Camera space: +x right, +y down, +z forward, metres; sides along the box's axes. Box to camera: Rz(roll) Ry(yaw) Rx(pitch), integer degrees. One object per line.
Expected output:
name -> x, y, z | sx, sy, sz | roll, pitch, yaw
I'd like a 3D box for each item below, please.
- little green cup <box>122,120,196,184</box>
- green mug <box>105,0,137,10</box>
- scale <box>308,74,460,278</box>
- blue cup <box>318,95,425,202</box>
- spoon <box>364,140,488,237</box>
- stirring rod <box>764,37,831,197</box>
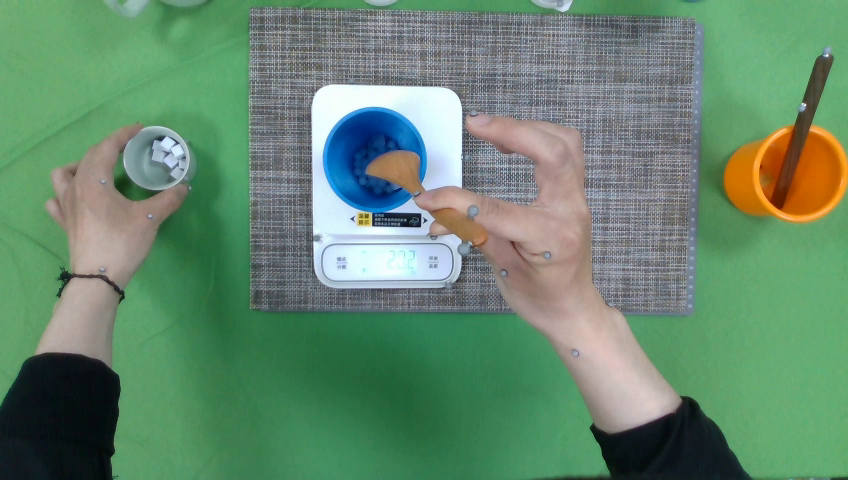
little green cup -> -0.254, -0.083, 0.589 | 0.061, 0.038, 0.061 | 0, 91, -3
green mug -> -0.249, -0.264, 0.545 | 0.092, 0.105, 0.125 | 35, 92, -4
scale -> -0.038, -0.062, 0.599 | 0.149, 0.031, 0.201 | -1, 94, -2
blue cup -> -0.043, -0.077, 0.532 | 0.093, 0.100, 0.092 | 0, 95, -2
spoon -> 0.000, -0.036, 0.381 | 0.041, 0.191, 0.022 | -21, 119, -12
stirring rod -> 0.343, -0.106, 0.561 | 0.014, 0.005, 0.178 | -14, 136, 0
